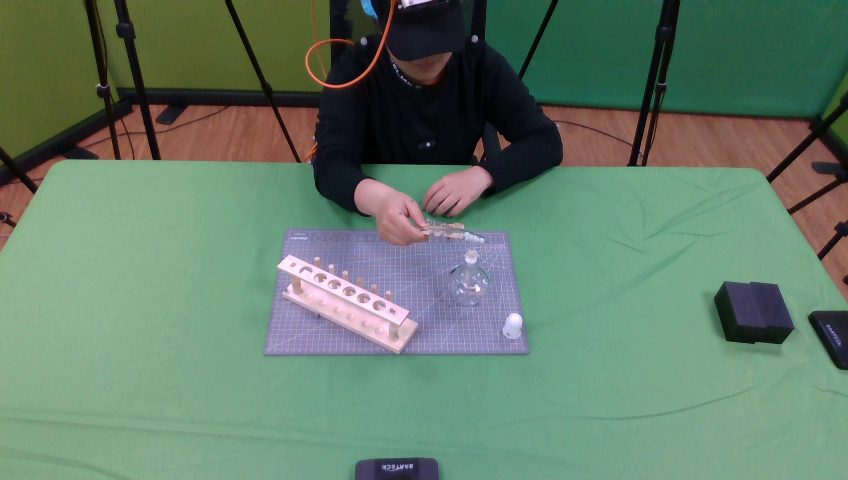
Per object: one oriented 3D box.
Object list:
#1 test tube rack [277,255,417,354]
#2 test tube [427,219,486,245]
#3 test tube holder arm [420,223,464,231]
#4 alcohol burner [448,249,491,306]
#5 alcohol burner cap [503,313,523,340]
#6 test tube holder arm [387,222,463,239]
[{"bbox_3d":[-0.131,0.099,1.045,0.241,0.085,0.066,23,49,17],"label":"test tube rack"},{"bbox_3d":[0.056,-0.011,0.975,0.151,0.017,0.017,16,27,-50],"label":"test tube"},{"bbox_3d":[0.028,-0.020,0.976,0.015,0.010,0.087,9,-9,-43],"label":"test tube holder arm"},{"bbox_3d":[0.081,0.062,1.078,0.078,0.120,0.077,1,45,-1],"label":"alcohol burner"},{"bbox_3d":[0.156,0.148,1.051,0.034,0.048,0.033,1,45,-1],"label":"alcohol burner cap"},{"bbox_3d":[-0.003,-0.017,1.009,0.015,0.013,0.177,10,-1,-43],"label":"test tube holder arm"}]
